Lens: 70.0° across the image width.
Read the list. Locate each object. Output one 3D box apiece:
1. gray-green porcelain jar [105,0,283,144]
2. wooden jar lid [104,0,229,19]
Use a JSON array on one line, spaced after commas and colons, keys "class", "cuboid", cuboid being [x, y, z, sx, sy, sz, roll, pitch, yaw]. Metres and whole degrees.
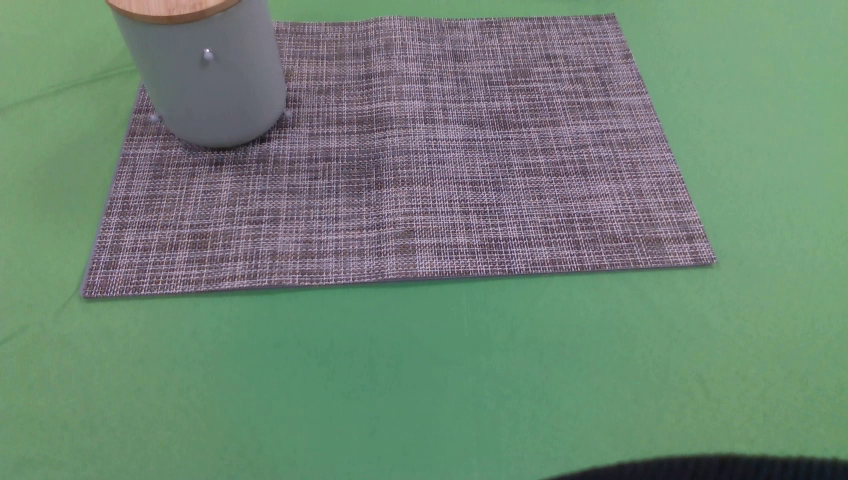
[{"class": "gray-green porcelain jar", "cuboid": [-0.168, -0.146, 0.464, 0.106, 0.127, 0.105, 1, 55, -1]}, {"class": "wooden jar lid", "cuboid": [-0.167, -0.183, 0.413, 0.108, 0.021, 0.107, 0, 57, 0]}]
